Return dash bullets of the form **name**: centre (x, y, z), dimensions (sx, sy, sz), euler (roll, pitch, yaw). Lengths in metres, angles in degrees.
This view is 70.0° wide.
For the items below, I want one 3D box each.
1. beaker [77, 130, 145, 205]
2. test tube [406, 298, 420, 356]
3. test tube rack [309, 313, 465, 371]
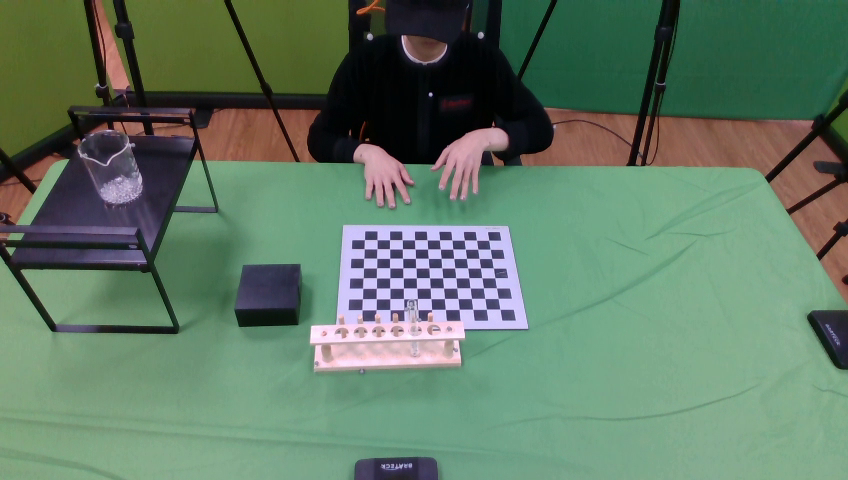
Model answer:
- **beaker**: centre (-0.493, -0.111, 0.965), dimensions (0.074, 0.101, 0.083), euler (-14, 49, -16)
- **test tube**: centre (-0.017, 0.139, 0.945), dimensions (0.017, 0.151, 0.017), euler (-1, 50, 2)
- **test tube rack**: centre (-0.059, 0.161, 0.990), dimensions (0.242, 0.085, 0.066), euler (-1, 46, -5)
